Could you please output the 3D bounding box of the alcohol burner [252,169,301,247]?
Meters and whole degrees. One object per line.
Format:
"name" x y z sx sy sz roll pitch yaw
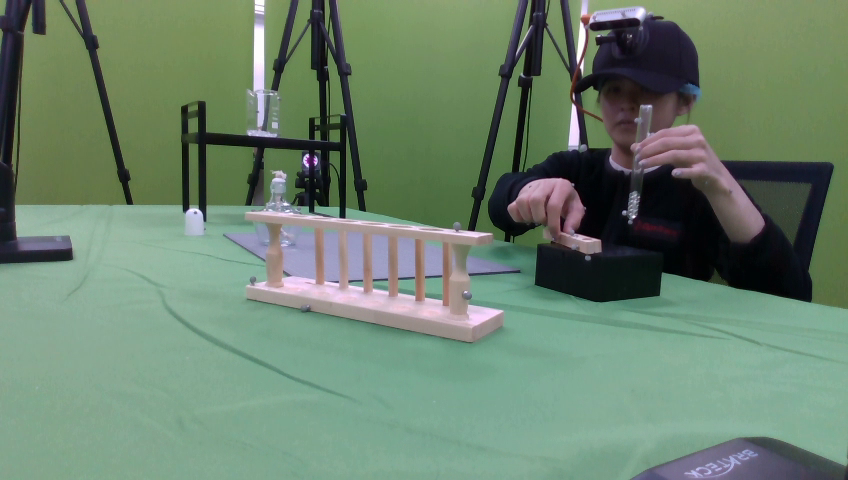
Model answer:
"alcohol burner" -0.227 -0.050 0.937 0.078 0.119 0.078 1 7 0

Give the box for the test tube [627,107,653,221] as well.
"test tube" 0.284 -0.099 0.797 0.017 0.150 0.017 3 13 0

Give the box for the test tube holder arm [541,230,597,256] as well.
"test tube holder arm" 0.167 0.001 0.713 0.013 0.015 0.178 2 5 -7

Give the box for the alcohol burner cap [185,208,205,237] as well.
"alcohol burner cap" -0.391 -0.031 1.032 0.034 0.048 0.034 3 8 0

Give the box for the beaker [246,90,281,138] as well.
"beaker" -0.354 -0.275 1.322 0.074 0.100 0.084 4 8 12

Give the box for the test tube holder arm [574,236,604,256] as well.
"test tube holder arm" 0.178 0.005 0.669 0.010 0.015 0.087 2 5 -6

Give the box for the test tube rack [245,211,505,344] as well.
"test tube rack" -0.049 0.025 0.547 0.241 0.085 0.067 7 8 29
